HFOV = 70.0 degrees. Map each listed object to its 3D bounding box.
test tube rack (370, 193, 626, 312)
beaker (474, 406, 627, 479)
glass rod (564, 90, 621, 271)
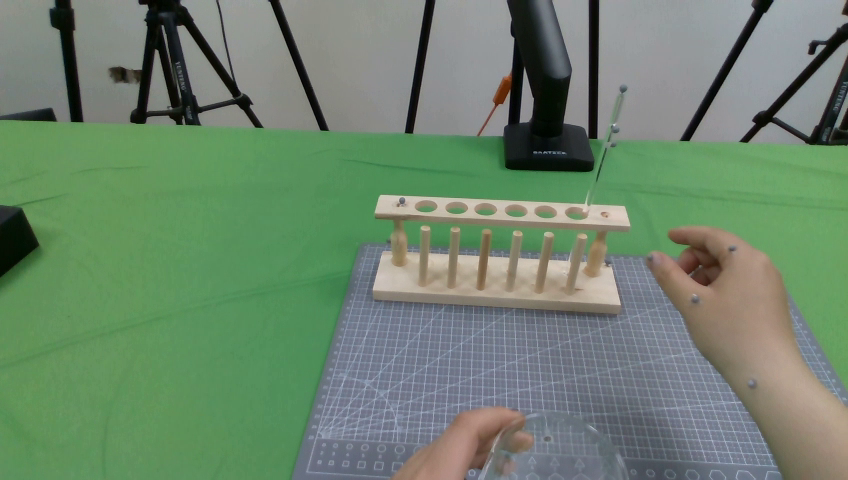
[{"bbox_3d":[0.069,0.011,0.599,0.242,0.086,0.066,3,37,4],"label":"test tube rack"},{"bbox_3d":[0.067,0.160,0.357,0.084,0.101,0.073,-7,37,-11],"label":"beaker"},{"bbox_3d":[0.155,-0.045,0.564,0.008,0.201,0.008,3,38,-2],"label":"glass rod"}]
